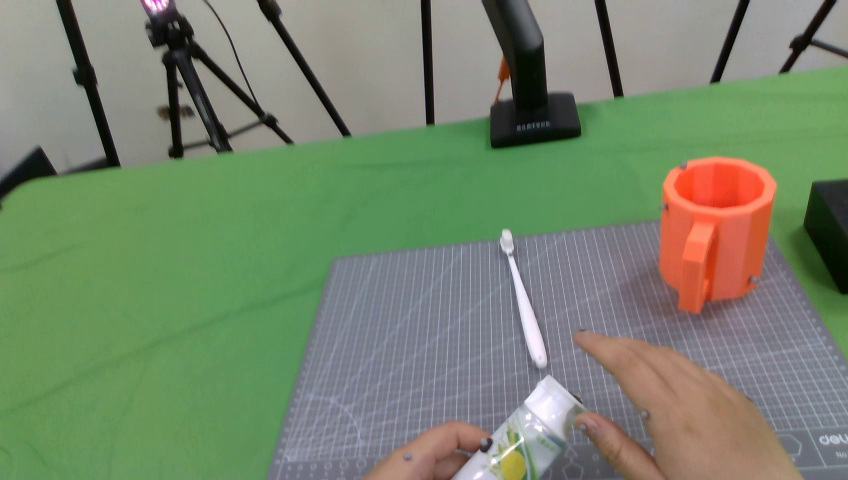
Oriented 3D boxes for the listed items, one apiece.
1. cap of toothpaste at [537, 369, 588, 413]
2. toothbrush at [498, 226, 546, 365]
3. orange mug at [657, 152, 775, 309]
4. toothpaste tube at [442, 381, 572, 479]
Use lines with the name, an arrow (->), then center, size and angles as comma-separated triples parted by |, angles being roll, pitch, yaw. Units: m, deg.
cap of toothpaste -> 0.087, 0.097, 0.381 | 0.011, 0.038, 0.037 | -49, 44, -2
toothbrush -> 0.091, 0.045, 0.574 | 0.014, 0.017, 0.180 | 1, 39, -6
orange mug -> 0.243, -0.004, 0.521 | 0.083, 0.102, 0.126 | 13, 41, 31
toothpaste tube -> 0.034, 0.155, 0.380 | 0.054, 0.035, 0.165 | 39, 87, 24
